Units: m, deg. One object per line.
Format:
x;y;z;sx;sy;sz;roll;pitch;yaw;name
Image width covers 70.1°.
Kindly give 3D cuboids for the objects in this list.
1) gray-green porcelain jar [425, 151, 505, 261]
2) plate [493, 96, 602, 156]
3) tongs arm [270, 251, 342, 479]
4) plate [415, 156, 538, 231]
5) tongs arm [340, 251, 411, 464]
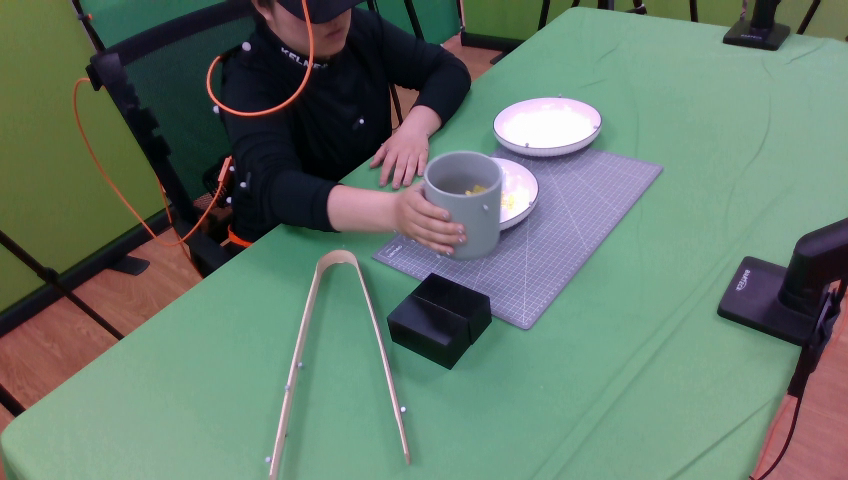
0.056;-0.042;0.840;0.106;0.127;0.105;-1;42;2;gray-green porcelain jar
0.238;-0.218;1.180;0.209;0.038;0.208;-5;39;4;plate
-0.153;0.148;0.826;0.051;0.026;0.382;-6;38;3;tongs arm
0.090;-0.072;1.034;0.207;0.039;0.206;-5;40;5;plate
-0.071;0.136;0.830;0.028;0.028;0.384;-18;40;-5;tongs arm
